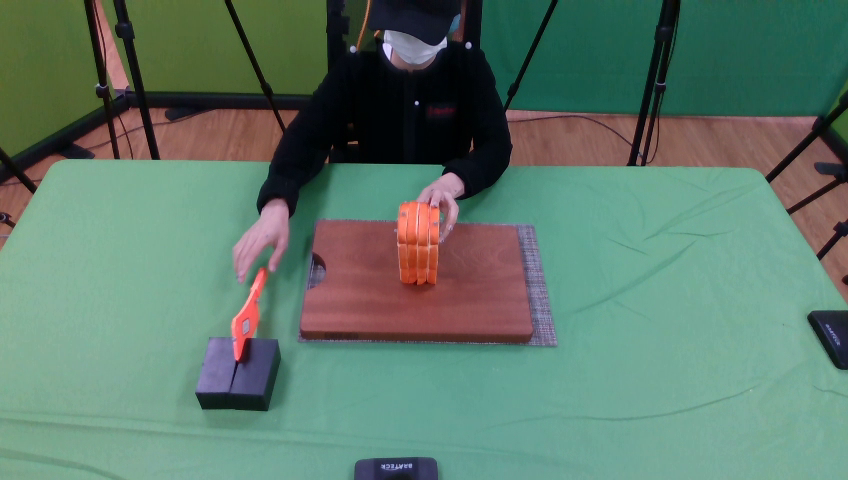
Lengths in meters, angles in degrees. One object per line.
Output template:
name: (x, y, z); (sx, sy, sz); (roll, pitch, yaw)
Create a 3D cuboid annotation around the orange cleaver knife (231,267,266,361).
orange cleaver knife: (-0.292, 0.119, 1.019); (0.012, 0.077, 0.210); (-1, 27, 0)

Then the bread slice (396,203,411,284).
bread slice: (-0.036, -0.002, 1.082); (0.019, 0.132, 0.104); (1, 46, 3)

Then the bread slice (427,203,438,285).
bread slice: (0.016, 0.002, 1.082); (0.018, 0.135, 0.106); (1, 51, 0)
